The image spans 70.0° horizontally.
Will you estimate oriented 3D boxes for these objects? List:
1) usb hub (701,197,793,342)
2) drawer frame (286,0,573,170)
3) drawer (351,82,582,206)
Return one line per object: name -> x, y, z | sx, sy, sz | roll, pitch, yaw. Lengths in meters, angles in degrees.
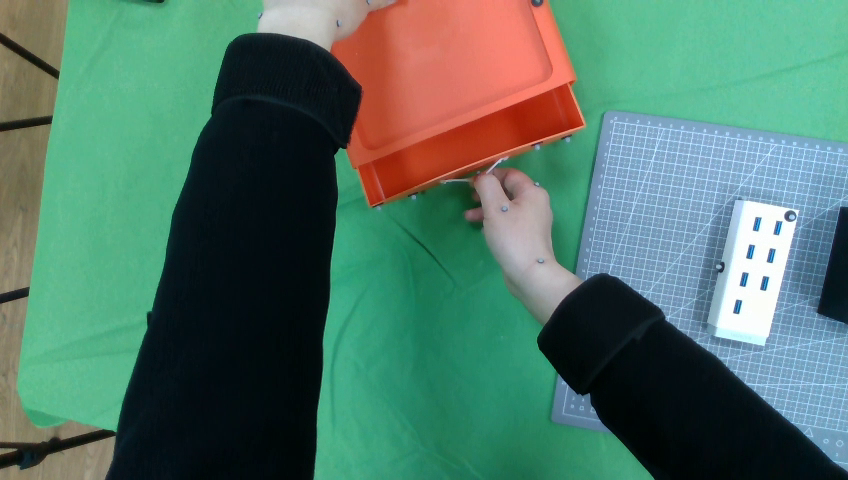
usb hub -> 0.291, 0.027, 0.548 | 0.049, 0.025, 0.125 | 10, 96, 3
drawer frame -> -0.006, -0.193, 0.526 | 0.201, 0.083, 0.213 | -21, 92, 6
drawer -> 0.008, -0.158, 0.531 | 0.194, 0.073, 0.212 | -20, 92, 7
